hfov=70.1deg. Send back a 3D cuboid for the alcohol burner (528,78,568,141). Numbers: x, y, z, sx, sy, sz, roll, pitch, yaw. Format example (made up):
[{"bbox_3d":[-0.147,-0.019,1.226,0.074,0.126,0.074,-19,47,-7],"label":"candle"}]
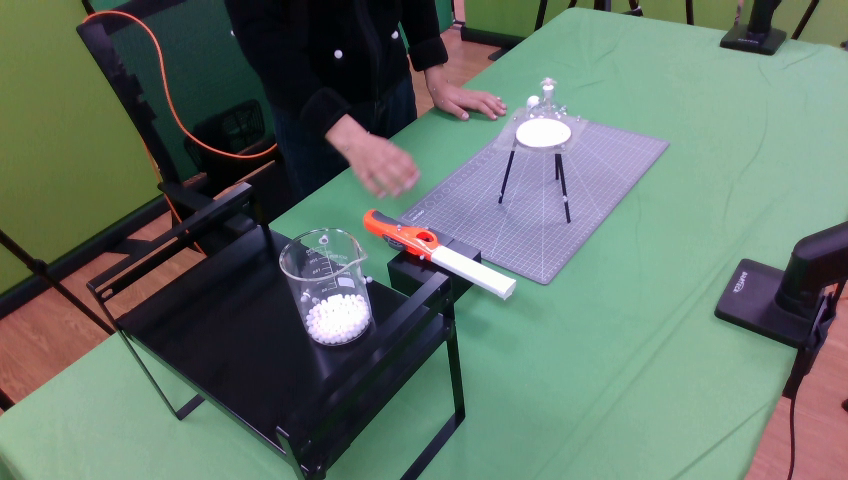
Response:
[{"bbox_3d":[0.238,-0.253,1.163,0.078,0.119,0.077,-6,40,6],"label":"alcohol burner"}]

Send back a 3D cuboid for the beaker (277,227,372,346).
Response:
[{"bbox_3d":[-0.090,0.048,0.593,0.084,0.101,0.073,-3,41,5],"label":"beaker"}]

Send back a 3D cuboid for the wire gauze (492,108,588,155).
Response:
[{"bbox_3d":[0.185,-0.170,0.953,0.121,0.011,0.125,13,44,22],"label":"wire gauze"}]

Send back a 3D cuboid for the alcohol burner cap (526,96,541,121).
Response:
[{"bbox_3d":[0.225,-0.273,1.243,0.034,0.048,0.033,-4,41,4],"label":"alcohol burner cap"}]

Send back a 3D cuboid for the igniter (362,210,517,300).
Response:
[{"bbox_3d":[0.012,0.015,0.880,0.274,0.025,0.057,26,48,30],"label":"igniter"}]

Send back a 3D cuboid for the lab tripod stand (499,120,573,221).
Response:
[{"bbox_3d":[0.198,-0.117,0.992,0.148,0.132,0.147,-3,40,3],"label":"lab tripod stand"}]
